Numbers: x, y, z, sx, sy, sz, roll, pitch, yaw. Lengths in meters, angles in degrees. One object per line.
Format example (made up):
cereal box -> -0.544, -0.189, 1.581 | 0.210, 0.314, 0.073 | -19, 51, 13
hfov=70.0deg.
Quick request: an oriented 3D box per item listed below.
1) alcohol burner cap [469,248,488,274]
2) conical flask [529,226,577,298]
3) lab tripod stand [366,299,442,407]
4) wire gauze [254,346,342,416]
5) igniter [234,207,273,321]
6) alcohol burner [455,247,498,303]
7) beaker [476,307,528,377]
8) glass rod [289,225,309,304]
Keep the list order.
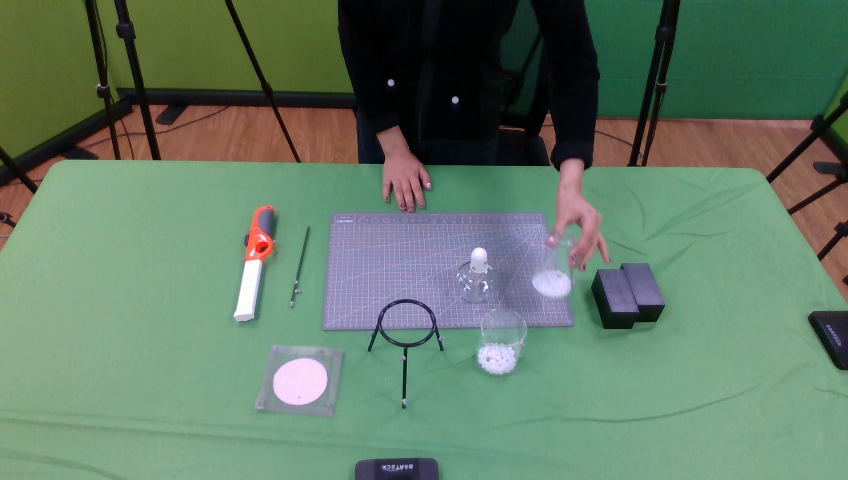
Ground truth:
alcohol burner cap -> 0.095, 0.034, 1.057 | 0.034, 0.048, 0.033 | -3, 53, 4
conical flask -> 0.224, 0.034, 1.021 | 0.075, 0.122, 0.075 | 3, 43, -3
lab tripod stand -> -0.028, 0.165, 0.961 | 0.148, 0.132, 0.147 | 3, 44, -2
wire gauze -> -0.201, 0.223, 0.978 | 0.125, 0.011, 0.121 | 4, 45, 1
igniter -> -0.319, 0.035, 1.137 | 0.057, 0.025, 0.274 | -7, 46, 3
alcohol burner -> 0.095, 0.057, 1.085 | 0.078, 0.120, 0.077 | 1, 47, -1
beaker -> 0.122, 0.171, 0.991 | 0.084, 0.101, 0.073 | -34, 56, -30
glass rod -> -0.235, 0.042, 1.149 | 0.008, 0.008, 0.198 | 3, 46, -1
